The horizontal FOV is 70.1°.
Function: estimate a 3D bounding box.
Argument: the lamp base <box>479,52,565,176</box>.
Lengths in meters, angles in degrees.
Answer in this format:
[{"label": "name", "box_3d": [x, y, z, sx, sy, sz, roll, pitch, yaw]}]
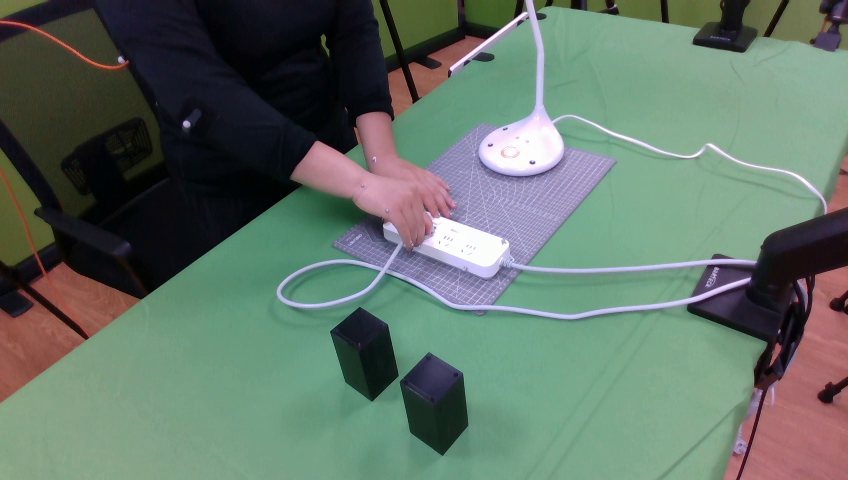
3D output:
[{"label": "lamp base", "box_3d": [0.182, -0.235, 1.093, 0.159, 0.181, 0.179, 18, 44, 27]}]

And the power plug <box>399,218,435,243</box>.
[{"label": "power plug", "box_3d": [-0.015, -0.006, 0.939, 0.073, 0.053, 0.035, -34, 46, -23]}]

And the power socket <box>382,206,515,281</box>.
[{"label": "power socket", "box_3d": [0.032, 0.002, 0.951, 0.225, 0.033, 0.072, 21, 49, 29]}]
